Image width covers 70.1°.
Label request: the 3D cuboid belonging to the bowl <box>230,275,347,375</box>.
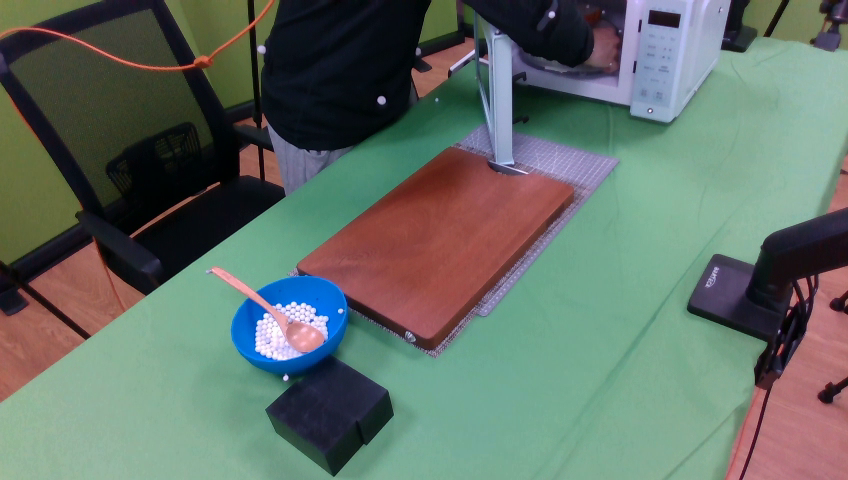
[{"bbox_3d":[-0.171,0.125,0.801,0.151,0.077,0.150,-4,40,4],"label":"bowl"}]

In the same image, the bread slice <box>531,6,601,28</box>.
[{"bbox_3d":[0.303,-0.471,1.270,0.135,0.018,0.106,-28,40,-35],"label":"bread slice"}]

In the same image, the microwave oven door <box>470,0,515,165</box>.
[{"bbox_3d":[0.127,-0.341,1.153,0.039,0.245,0.354,-7,41,2],"label":"microwave oven door"}]

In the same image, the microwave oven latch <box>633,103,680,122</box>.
[{"bbox_3d":[0.443,-0.249,1.157,0.078,0.029,0.030,21,49,30],"label":"microwave oven latch"}]

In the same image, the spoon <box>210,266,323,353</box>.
[{"bbox_3d":[-0.213,0.088,0.806,0.193,0.021,0.042,37,56,11],"label":"spoon"}]

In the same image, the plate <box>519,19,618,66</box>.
[{"bbox_3d":[0.312,-0.429,1.313,0.207,0.039,0.206,-6,40,5],"label":"plate"}]

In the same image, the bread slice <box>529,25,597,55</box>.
[{"bbox_3d":[0.310,-0.444,1.325,0.132,0.019,0.104,-15,42,-12],"label":"bread slice"}]

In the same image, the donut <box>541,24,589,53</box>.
[{"bbox_3d":[0.300,-0.434,1.287,0.099,0.048,0.098,-2,46,3],"label":"donut"}]

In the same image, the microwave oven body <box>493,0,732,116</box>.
[{"bbox_3d":[0.377,-0.462,1.267,0.438,0.261,0.327,21,49,30],"label":"microwave oven body"}]
